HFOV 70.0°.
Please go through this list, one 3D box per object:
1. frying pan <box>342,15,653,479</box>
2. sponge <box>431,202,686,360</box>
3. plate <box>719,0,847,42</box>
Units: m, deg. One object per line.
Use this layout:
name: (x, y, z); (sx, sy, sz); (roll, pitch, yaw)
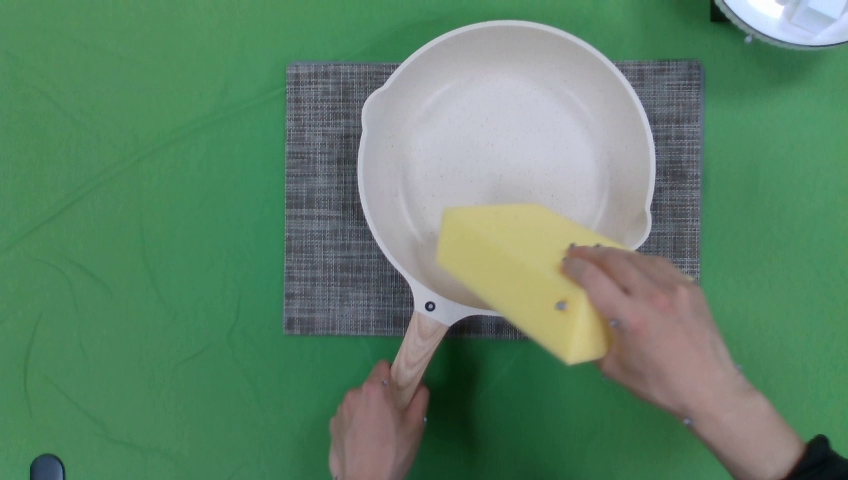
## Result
frying pan: (0.033, 0.018, 0.611); (0.306, 0.103, 0.487); (26, 83, 5)
sponge: (0.108, 0.023, 0.542); (0.119, 0.204, 0.061); (-5, 111, -29)
plate: (0.363, -0.289, 0.578); (0.207, 0.039, 0.207); (0, 90, 2)
